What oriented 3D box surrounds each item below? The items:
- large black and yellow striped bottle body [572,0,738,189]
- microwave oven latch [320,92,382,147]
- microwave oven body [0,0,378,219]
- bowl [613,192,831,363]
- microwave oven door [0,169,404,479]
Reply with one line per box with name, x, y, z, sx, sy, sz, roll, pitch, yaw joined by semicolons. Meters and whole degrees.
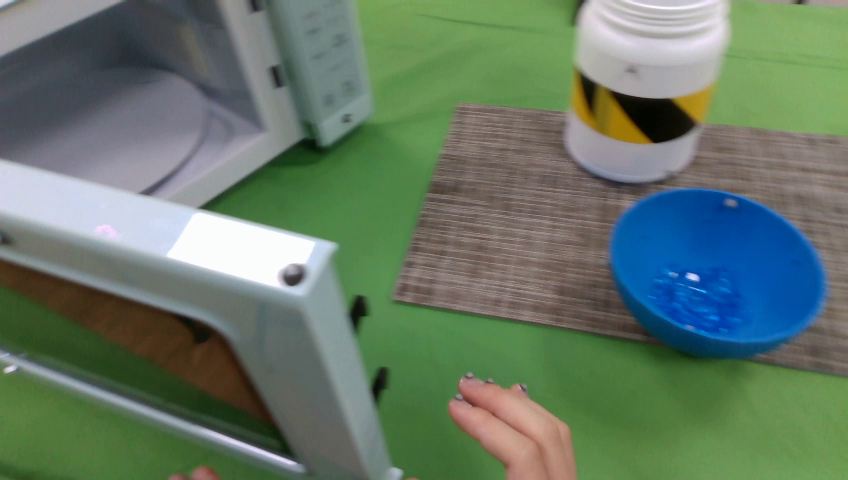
large black and yellow striped bottle body;0.219;-0.156;0.585;0.131;0.186;0.129;-2;47;3
microwave oven latch;-0.082;-0.138;0.674;0.030;0.030;0.079;34;59;29
microwave oven body;-0.317;-0.168;0.589;0.323;0.263;0.441;32;58;28
bowl;0.220;0.041;0.476;0.151;0.077;0.150;-3;47;3
microwave oven door;-0.193;0.054;0.369;0.354;0.246;0.039;13;50;16
